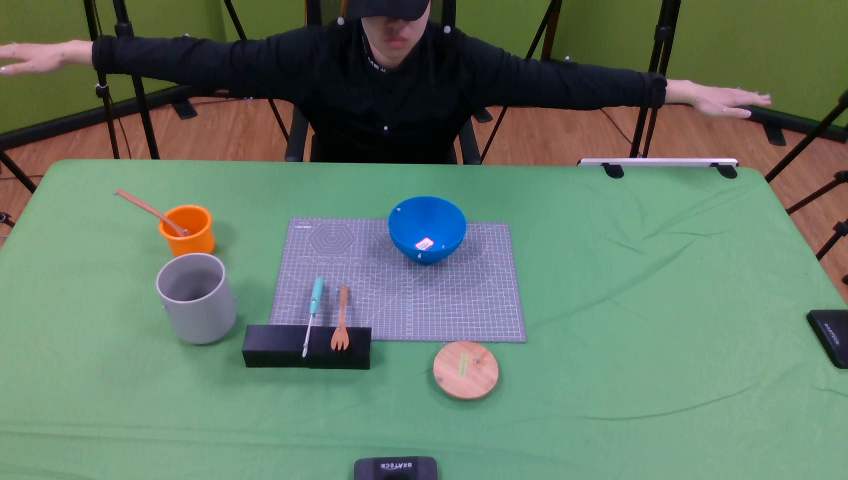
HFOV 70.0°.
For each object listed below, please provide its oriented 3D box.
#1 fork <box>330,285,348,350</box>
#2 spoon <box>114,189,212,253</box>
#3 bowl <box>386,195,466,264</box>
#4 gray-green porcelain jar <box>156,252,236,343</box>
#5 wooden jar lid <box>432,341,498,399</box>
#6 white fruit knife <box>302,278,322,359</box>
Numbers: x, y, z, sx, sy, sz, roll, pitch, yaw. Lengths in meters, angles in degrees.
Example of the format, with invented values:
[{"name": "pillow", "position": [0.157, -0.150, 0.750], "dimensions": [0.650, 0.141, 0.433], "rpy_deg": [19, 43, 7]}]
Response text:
[{"name": "fork", "position": [-0.140, 0.127, 1.021], "dimensions": [0.028, 0.019, 0.206], "rpy_deg": [-5, 28, -2]}, {"name": "spoon", "position": [-0.475, -0.037, 1.109], "dimensions": [0.021, 0.195, 0.041], "rpy_deg": [-29, 34, 32]}, {"name": "bowl", "position": [0.002, -0.007, 1.162], "dimensions": [0.151, 0.077, 0.150], "rpy_deg": [2, 46, -2]}, {"name": "gray-green porcelain jar", "position": [-0.371, 0.100, 0.999], "dimensions": [0.106, 0.127, 0.105], "rpy_deg": [2, 46, -2]}, {"name": "wooden jar lid", "position": [0.067, 0.216, 0.997], "dimensions": [0.108, 0.021, 0.107], "rpy_deg": [1, 46, -1]}, {"name": "white fruit knife", "position": [-0.189, 0.126, 1.020], "dimensions": [0.016, 0.027, 0.206], "rpy_deg": [0, 33, -2]}]
